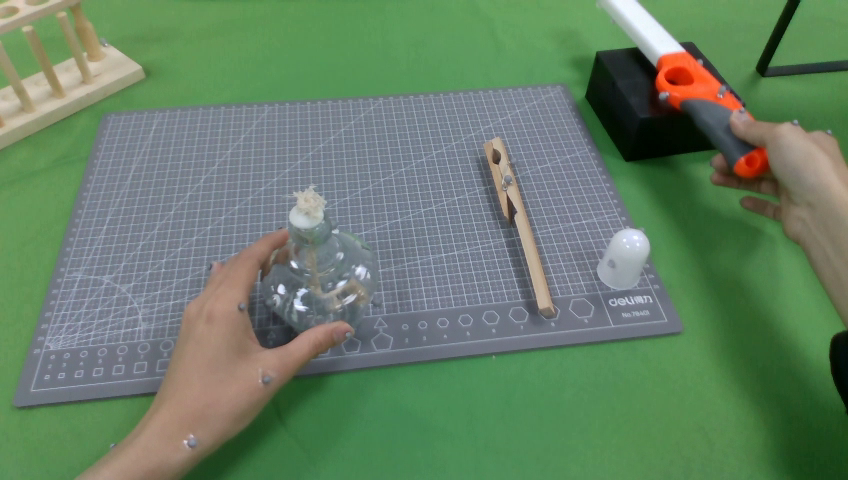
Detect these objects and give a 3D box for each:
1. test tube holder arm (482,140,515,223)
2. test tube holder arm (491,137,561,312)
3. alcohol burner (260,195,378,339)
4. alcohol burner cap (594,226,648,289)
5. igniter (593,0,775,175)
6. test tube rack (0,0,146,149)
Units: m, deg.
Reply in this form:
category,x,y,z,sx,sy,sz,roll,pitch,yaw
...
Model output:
category,x,y,z,sx,sy,sz,roll,pitch,yaw
test tube holder arm,0.065,-0.051,0.514,0.010,0.015,0.087,-29,49,21
test tube holder arm,0.078,-0.019,0.484,0.013,0.015,0.176,-30,49,20
alcohol burner,-0.070,0.012,0.392,0.078,0.120,0.077,0,52,0
alcohol burner cap,0.147,0.010,0.447,0.034,0.048,0.033,1,49,-1
igniter,0.221,-0.153,0.538,0.057,0.025,0.273,-11,50,-8
test tube rack,-0.383,-0.139,0.532,0.066,0.086,0.242,35,57,24
